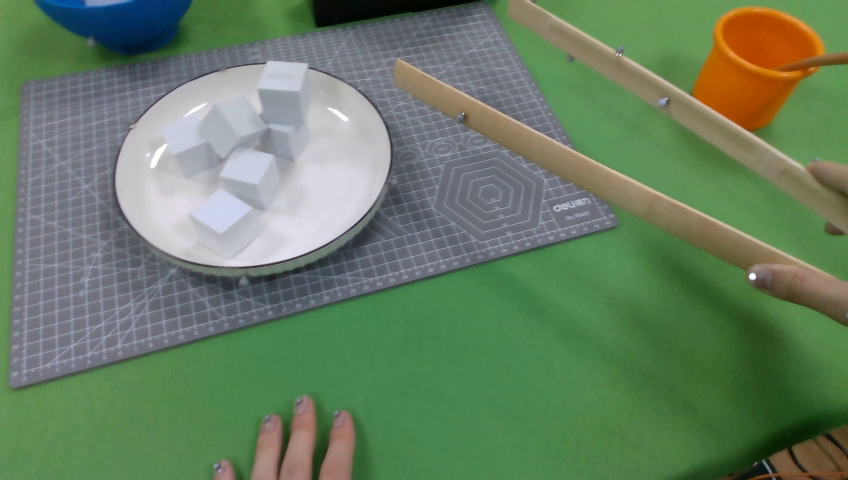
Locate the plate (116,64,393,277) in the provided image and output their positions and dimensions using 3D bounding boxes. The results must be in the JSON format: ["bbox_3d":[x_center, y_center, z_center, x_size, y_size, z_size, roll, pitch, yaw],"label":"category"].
[{"bbox_3d":[-0.128,-0.056,0.480,0.208,0.039,0.205,1,57,-2],"label":"plate"}]

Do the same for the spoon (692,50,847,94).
[{"bbox_3d":[0.305,-0.140,0.493,0.041,0.192,0.022,-35,108,-19],"label":"spoon"}]

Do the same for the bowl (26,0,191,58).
[{"bbox_3d":[-0.281,-0.225,0.564,0.151,0.077,0.150,1,56,-1],"label":"bowl"}]

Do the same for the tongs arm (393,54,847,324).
[{"bbox_3d":[0.132,-0.039,0.401,0.385,0.028,0.028,32,51,20],"label":"tongs arm"}]

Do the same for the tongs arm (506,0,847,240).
[{"bbox_3d":[0.184,-0.079,0.436,0.051,0.027,0.381,-33,61,-28],"label":"tongs arm"}]
